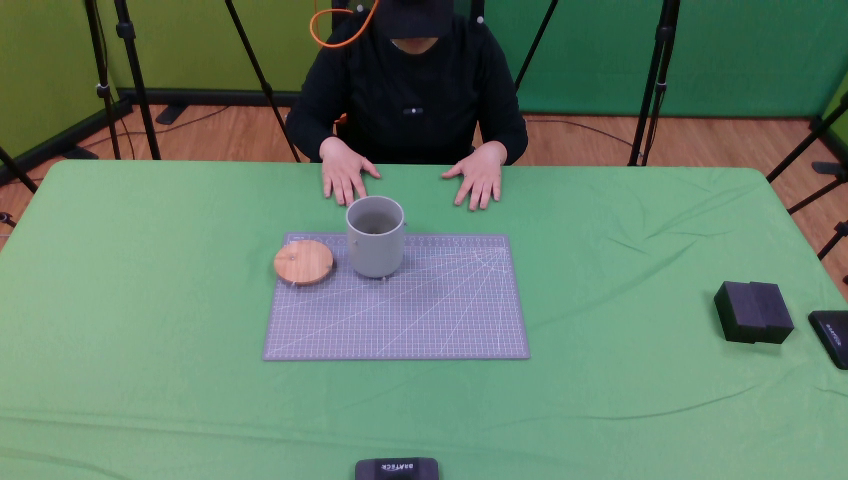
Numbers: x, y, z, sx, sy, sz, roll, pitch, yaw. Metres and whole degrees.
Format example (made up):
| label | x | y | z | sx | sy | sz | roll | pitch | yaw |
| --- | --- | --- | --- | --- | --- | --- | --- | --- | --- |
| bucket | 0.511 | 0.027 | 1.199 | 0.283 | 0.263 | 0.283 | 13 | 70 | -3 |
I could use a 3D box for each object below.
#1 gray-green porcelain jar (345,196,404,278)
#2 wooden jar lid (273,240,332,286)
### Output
| label | x | y | z | sx | sy | sz | roll | pitch | yaw |
| --- | --- | --- | --- | --- | --- | --- | --- | --- | --- |
| gray-green porcelain jar | -0.091 | -0.001 | 1.117 | 0.106 | 0.127 | 0.105 | 2 | 46 | -2 |
| wooden jar lid | -0.227 | 0.044 | 1.137 | 0.108 | 0.021 | 0.107 | 3 | 47 | -3 |
